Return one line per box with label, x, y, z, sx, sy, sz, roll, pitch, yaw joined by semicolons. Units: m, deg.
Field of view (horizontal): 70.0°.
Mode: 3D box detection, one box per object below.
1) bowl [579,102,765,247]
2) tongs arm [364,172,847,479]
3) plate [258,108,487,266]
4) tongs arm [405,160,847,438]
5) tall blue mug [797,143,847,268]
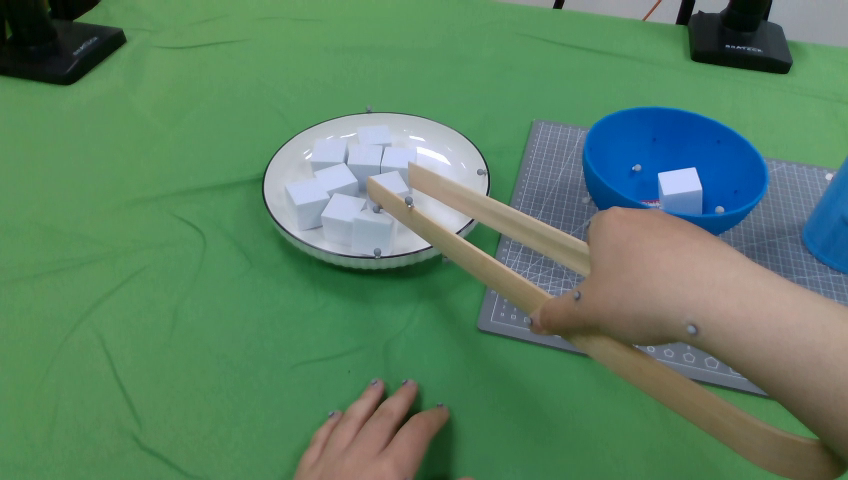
bowl;0.206;-0.048;0.535;0.151;0.077;0.150;1;46;0
tongs arm;0.071;0.023;0.398;0.051;0.027;0.380;-18;34;-28
plate;-0.046;-0.050;0.564;0.209;0.038;0.207;1;46;-1
tongs arm;0.094;0.014;0.412;0.028;0.028;0.383;-17;33;-32
tall blue mug;0.391;-0.032;0.502;0.106;0.109;0.077;21;48;18
